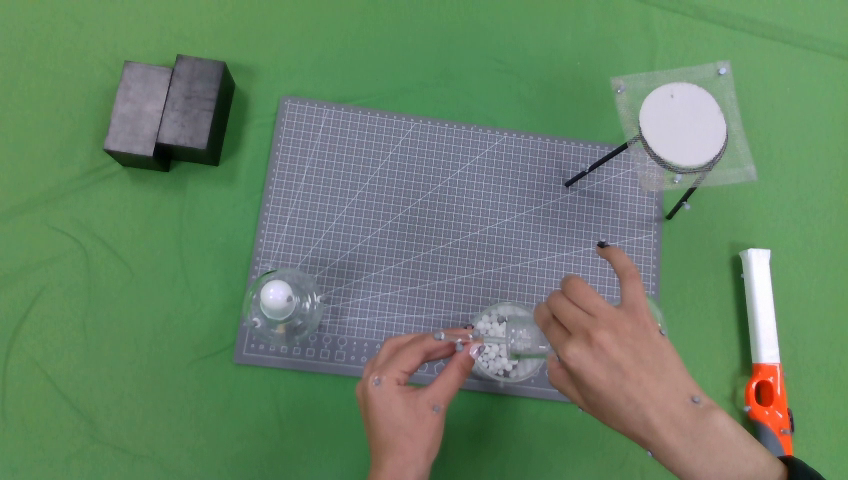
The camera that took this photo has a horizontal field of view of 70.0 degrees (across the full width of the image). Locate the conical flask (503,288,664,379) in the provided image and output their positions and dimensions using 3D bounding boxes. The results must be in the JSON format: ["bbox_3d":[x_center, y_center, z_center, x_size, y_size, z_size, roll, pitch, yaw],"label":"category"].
[{"bbox_3d":[0.128,0.078,0.503,0.122,0.075,0.075,0,78,-1],"label":"conical flask"}]

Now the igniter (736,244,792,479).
[{"bbox_3d":[0.373,0.141,0.667,0.057,0.025,0.275,3,79,-16],"label":"igniter"}]

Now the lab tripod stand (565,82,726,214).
[{"bbox_3d":[0.239,-0.095,0.645,0.148,0.132,0.148,1,80,-6],"label":"lab tripod stand"}]

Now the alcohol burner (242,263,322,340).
[{"bbox_3d":[-0.139,0.057,0.587,0.078,0.119,0.077,2,77,-7],"label":"alcohol burner"}]

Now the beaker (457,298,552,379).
[{"bbox_3d":[0.075,0.099,0.607,0.084,0.100,0.073,-11,80,-8],"label":"beaker"}]

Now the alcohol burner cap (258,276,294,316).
[{"bbox_3d":[-0.135,0.048,0.552,0.034,0.048,0.033,4,71,-12],"label":"alcohol burner cap"}]

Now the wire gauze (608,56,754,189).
[{"bbox_3d":[0.248,-0.112,0.581,0.125,0.011,0.121,-8,81,-7],"label":"wire gauze"}]

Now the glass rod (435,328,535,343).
[{"bbox_3d":[0.059,0.083,0.515,0.008,0.201,0.008,-6,77,29],"label":"glass rod"}]
